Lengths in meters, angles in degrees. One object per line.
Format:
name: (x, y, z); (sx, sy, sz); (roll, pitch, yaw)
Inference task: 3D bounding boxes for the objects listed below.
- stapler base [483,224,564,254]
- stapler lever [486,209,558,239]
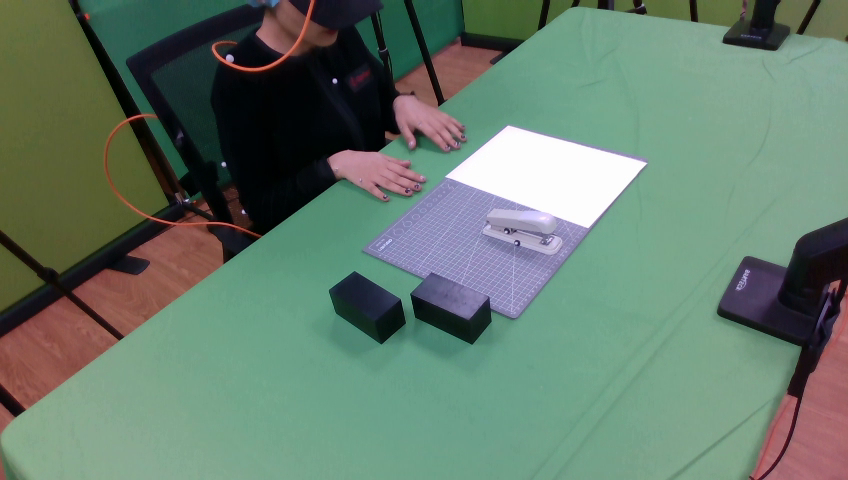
stapler base: (0.158, -0.012, 0.963); (0.129, 0.024, 0.041); (17, 45, 31)
stapler lever: (0.153, -0.032, 0.947); (0.117, 0.040, 0.027); (17, 45, 31)
